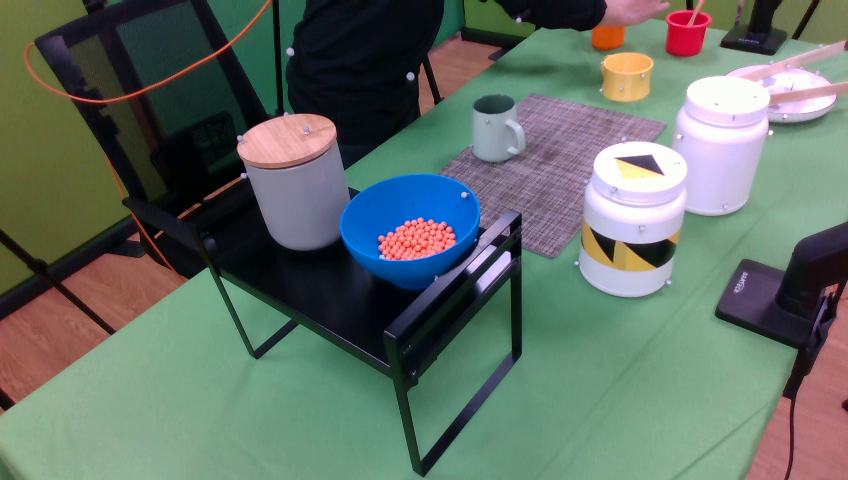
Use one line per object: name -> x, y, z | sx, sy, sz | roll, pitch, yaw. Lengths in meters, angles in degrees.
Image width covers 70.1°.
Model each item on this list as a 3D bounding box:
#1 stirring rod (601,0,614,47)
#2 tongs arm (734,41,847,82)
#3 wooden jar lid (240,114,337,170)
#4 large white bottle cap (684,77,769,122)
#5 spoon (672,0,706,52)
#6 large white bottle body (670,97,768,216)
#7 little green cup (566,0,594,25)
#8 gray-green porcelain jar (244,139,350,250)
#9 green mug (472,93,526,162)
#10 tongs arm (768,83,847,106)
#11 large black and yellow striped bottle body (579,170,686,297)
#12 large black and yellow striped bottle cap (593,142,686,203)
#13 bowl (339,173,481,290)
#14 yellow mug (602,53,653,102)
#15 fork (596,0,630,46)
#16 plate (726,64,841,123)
stirring rod -> 0.439, -0.552, 1.463 | 0.014, 0.006, 0.175 | -7, 83, 2
tongs arm -> 0.712, -0.332, 1.194 | 0.386, 0.026, 0.050 | -18, 45, -16
wooden jar lid -> -0.149, -0.106, 0.674 | 0.108, 0.021, 0.108 | -6, 39, 5
large white bottle cap -> 0.448, -0.209, 0.898 | 0.115, 0.018, 0.114 | -4, 40, 4
spoon -> 0.629, -0.520, 1.394 | 0.041, 0.022, 0.193 | 29, 96, 34
large white bottle body -> 0.458, -0.146, 0.952 | 0.130, 0.185, 0.130 | -4, 40, 4
little green cup -> 0.347, -0.506, 1.336 | 0.061, 0.039, 0.061 | -12, 40, 11
gray-green porcelain jar -> -0.144, -0.060, 0.714 | 0.106, 0.127, 0.105 | -4, 41, 4
green mug -> 0.144, -0.202, 1.122 | 0.093, 0.105, 0.124 | -29, 45, -23
tongs arm -> 0.738, -0.282, 1.134 | 0.388, 0.028, 0.028 | -9, 47, -5
large black and yellow striped bottle body -> 0.287, -0.027, 0.841 | 0.131, 0.185, 0.130 | -4, 40, 4
large black and yellow striped bottle cap -> 0.280, -0.090, 0.786 | 0.115, 0.019, 0.114 | -5, 41, 5
bowl -> -0.011, 0.001, 0.660 | 0.151, 0.077, 0.150 | -5, 40, 5
yellow mug -> 0.423, -0.354, 1.293 | 0.100, 0.064, 0.129 | -23, 42, -16
fork -> 0.481, -0.556, 1.452 | 0.028, 0.019, 0.207 | 40, 103, 38
plate -> 0.695, -0.282, 1.189 | 0.207, 0.039, 0.206 | -4, 40, 4
